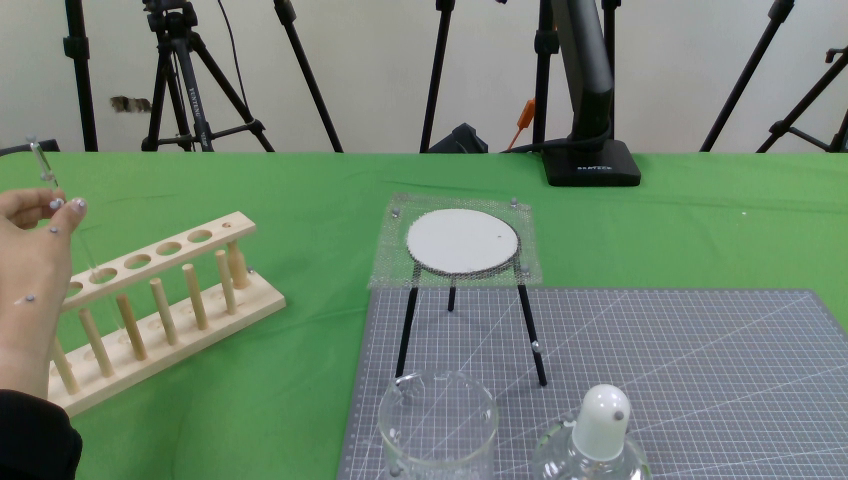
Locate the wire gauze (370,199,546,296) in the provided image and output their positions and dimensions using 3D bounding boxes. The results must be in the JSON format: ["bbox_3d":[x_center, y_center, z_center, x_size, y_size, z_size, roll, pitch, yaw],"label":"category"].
[{"bbox_3d":[0.028,0.003,0.463,0.121,0.011,0.124,2,35,4],"label":"wire gauze"}]

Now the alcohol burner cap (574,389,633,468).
[{"bbox_3d":[0.112,0.112,0.371,0.034,0.048,0.033,1,36,-1],"label":"alcohol burner cap"}]

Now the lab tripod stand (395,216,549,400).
[{"bbox_3d":[0.038,0.058,0.503,0.148,0.132,0.147,0,33,0],"label":"lab tripod stand"}]

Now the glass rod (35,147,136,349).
[{"bbox_3d":[-0.276,0.016,0.503,0.008,0.201,0.008,-5,33,3],"label":"glass rod"}]

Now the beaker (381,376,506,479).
[{"bbox_3d":[0.010,0.149,0.398,0.074,0.101,0.083,-29,42,-34],"label":"beaker"}]

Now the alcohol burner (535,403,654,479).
[{"bbox_3d":[0.112,0.142,0.391,0.078,0.120,0.077,-1,36,1],"label":"alcohol burner"}]

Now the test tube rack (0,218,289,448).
[{"bbox_3d":[-0.248,0.071,0.541,0.242,0.086,0.066,-27,41,-33],"label":"test tube rack"}]
